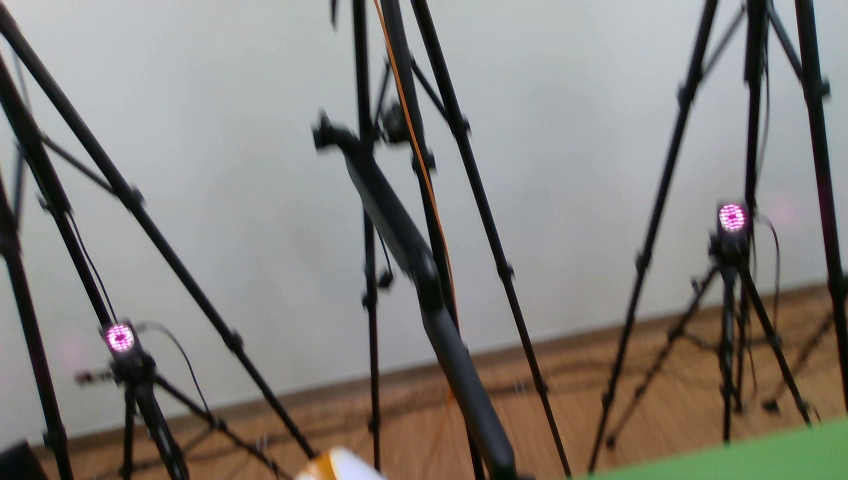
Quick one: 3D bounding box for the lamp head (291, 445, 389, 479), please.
[{"bbox_3d":[-0.079,0.273,0.614,0.112,0.113,0.121,-26,53,-30],"label":"lamp head"}]
